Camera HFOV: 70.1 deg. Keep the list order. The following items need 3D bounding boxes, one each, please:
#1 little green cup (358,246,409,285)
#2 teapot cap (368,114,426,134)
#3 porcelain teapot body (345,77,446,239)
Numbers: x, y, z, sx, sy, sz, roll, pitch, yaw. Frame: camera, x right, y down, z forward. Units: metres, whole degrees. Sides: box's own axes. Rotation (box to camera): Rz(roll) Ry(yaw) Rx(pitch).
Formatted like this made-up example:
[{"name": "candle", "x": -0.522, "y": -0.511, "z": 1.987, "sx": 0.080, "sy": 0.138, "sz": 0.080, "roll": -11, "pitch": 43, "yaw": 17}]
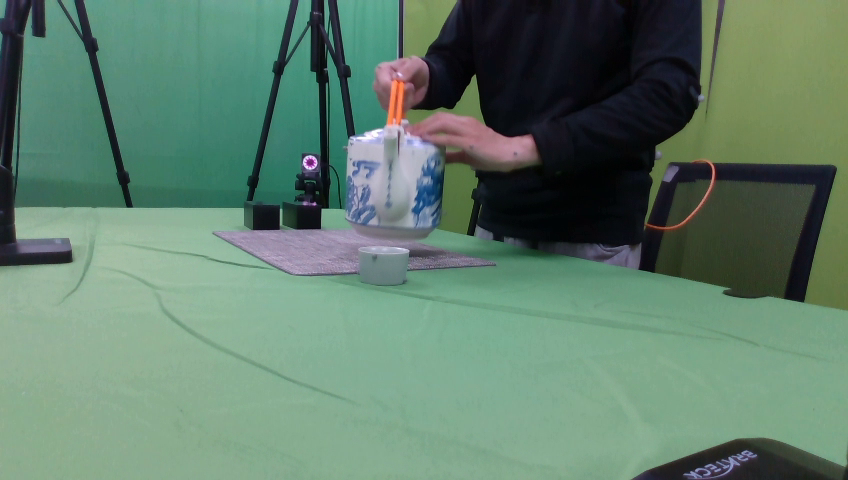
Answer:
[{"name": "little green cup", "x": -0.048, "y": 0.030, "z": 0.707, "sx": 0.061, "sy": 0.038, "sz": 0.061, "roll": 2, "pitch": 8, "yaw": 0}, {"name": "teapot cap", "x": -0.039, "y": -0.161, "z": 0.878, "sx": 0.085, "sy": 0.044, "sz": 0.085, "roll": -1, "pitch": 10, "yaw": 1}, {"name": "porcelain teapot body", "x": -0.040, "y": -0.116, "z": 0.858, "sx": 0.145, "sy": 0.225, "sz": 0.205, "roll": 3, "pitch": 11, "yaw": -2}]
